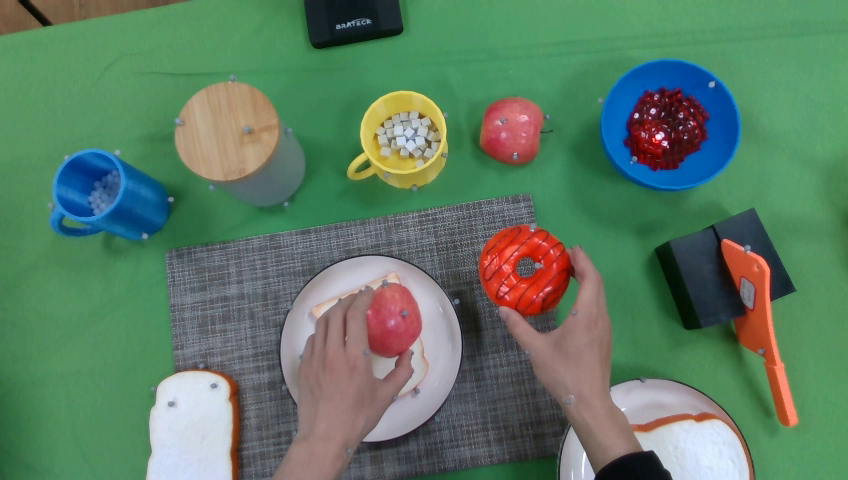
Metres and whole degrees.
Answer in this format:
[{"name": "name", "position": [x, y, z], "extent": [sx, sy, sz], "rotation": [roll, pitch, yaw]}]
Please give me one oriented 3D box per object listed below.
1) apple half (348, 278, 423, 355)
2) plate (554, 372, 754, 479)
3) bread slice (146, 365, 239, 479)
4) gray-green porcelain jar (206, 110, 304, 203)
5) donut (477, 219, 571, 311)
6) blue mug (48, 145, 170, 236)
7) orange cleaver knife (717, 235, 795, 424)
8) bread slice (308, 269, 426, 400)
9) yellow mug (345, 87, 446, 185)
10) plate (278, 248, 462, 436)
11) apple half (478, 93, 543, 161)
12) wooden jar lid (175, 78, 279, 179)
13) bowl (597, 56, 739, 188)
[{"name": "apple half", "position": [-0.036, 0.082, 0.627], "extent": [0.081, 0.032, 0.081], "rotation": [0, 90, -9]}, {"name": "plate", "position": [0.244, 0.248, 0.657], "extent": [0.209, 0.038, 0.208], "rotation": [-1, 81, 3]}, {"name": "bread slice", "position": [-0.266, 0.210, 0.696], "extent": [0.105, 0.019, 0.131], "rotation": [-2, 82, 2]}, {"name": "gray-green porcelain jar", "position": [-0.199, -0.102, 0.693], "extent": [0.106, 0.127, 0.105], "rotation": [0, 80, 3]}, {"name": "donut", "position": [0.105, 0.027, 0.639], "extent": [0.099, 0.048, 0.098], "rotation": [0, 81, 0]}, {"name": "blue mug", "position": [-0.372, -0.045, 0.701], "extent": [0.116, 0.106, 0.082], "rotation": [-35, 80, -3]}, {"name": "orange cleaver knife", "position": [0.357, 0.096, 0.655], "extent": [0.012, 0.077, 0.212], "rotation": [-20, 102, -7]}, {"name": "bread slice", "position": [-0.056, 0.112, 0.691], "extent": [0.107, 0.018, 0.134], "rotation": [-26, 82, -1]}, {"name": "yellow mug", "position": [-0.037, -0.113, 0.717], "extent": [0.131, 0.064, 0.099], "rotation": [-33, 80, -2]}, {"name": "plate", "position": [-0.061, 0.114, 0.691], "extent": [0.207, 0.039, 0.207], "rotation": [0, 81, 3]}, {"name": "apple half", "position": [0.103, -0.140, 0.721], "extent": [0.074, 0.053, 0.080], "rotation": [13, 82, 8]}, {"name": "wooden jar lid", "position": [-0.203, -0.114, 0.631], "extent": [0.108, 0.021, 0.108], "rotation": [-1, 79, 4]}, {"name": "bowl", "position": [0.269, -0.124, 0.697], "extent": [0.151, 0.077, 0.151], "rotation": [0, 81, 3]}]
